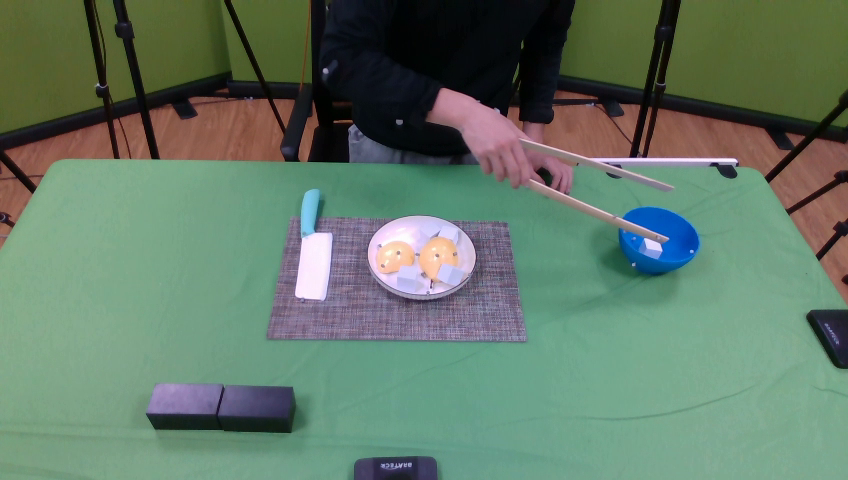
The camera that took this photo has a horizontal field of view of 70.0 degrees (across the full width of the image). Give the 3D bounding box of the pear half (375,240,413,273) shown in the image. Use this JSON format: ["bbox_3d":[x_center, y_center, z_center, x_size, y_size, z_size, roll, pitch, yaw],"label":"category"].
[{"bbox_3d":[-0.059,0.026,1.145,0.070,0.031,0.088,22,43,21],"label":"pear half"}]

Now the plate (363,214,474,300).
[{"bbox_3d":[-0.010,0.036,1.146,0.208,0.039,0.206,3,46,-2],"label":"plate"}]

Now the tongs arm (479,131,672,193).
[{"bbox_3d":[0.279,-0.136,1.086,0.389,0.028,0.028,14,75,-17],"label":"tongs arm"}]

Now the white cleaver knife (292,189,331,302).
[{"bbox_3d":[-0.215,0.006,1.178,0.066,0.021,0.284,5,49,-12],"label":"white cleaver knife"}]

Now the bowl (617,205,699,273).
[{"bbox_3d":[0.445,0.011,1.181,0.151,0.077,0.150,2,46,-2],"label":"bowl"}]

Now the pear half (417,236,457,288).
[{"bbox_3d":[0.022,0.039,1.127,0.076,0.056,0.109,6,50,7],"label":"pear half"}]

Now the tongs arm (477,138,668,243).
[{"bbox_3d":[0.266,-0.083,1.065,0.386,0.026,0.050,20,70,-14],"label":"tongs arm"}]
